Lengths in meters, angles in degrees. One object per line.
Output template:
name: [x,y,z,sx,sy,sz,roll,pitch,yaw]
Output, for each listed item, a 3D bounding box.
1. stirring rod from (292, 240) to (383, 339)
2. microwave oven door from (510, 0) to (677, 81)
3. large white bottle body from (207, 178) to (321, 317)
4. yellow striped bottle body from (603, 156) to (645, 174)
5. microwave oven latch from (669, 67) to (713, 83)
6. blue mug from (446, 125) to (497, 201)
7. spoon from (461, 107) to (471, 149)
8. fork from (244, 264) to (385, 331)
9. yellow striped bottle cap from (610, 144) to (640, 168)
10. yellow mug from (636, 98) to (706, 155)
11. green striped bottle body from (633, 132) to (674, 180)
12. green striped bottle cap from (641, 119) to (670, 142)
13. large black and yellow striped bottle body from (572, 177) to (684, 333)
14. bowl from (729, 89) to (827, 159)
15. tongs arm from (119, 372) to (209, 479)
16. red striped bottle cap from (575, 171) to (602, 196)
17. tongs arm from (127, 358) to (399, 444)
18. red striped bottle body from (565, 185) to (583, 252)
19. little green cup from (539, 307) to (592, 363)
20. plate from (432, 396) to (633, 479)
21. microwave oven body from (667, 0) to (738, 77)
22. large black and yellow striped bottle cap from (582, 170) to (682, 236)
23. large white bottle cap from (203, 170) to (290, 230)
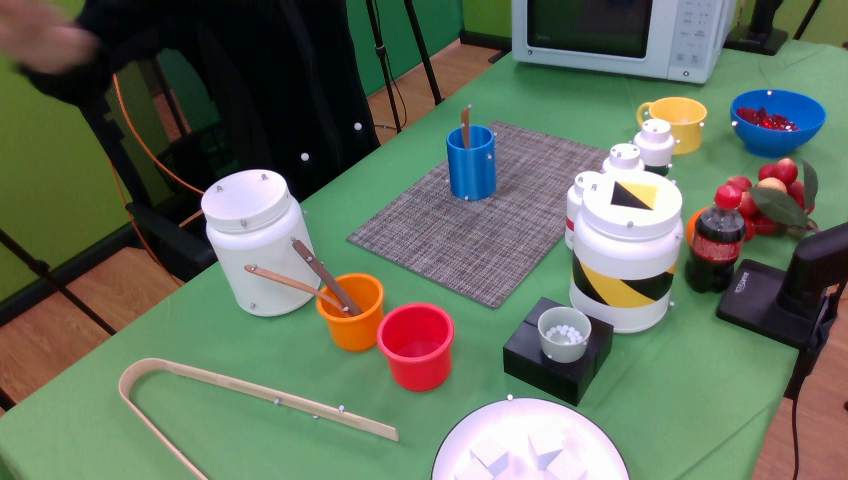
stirring rod: [-0.118,0.068,0.826,0.176,0.006,0.014,49,60,-4]
microwave oven door: [0.354,-0.478,1.290,0.353,0.245,0.039,15,45,25]
large white bottle body: [-0.232,0.007,0.876,0.130,0.185,0.130,-5,40,4]
yellow striped bottle body: [0.313,-0.089,0.956,0.063,0.121,0.062,-4,40,4]
microwave oven latch: [0.556,-0.348,1.262,0.078,0.029,0.030,15,46,26]
blue mug: [0.082,-0.144,1.064,0.082,0.106,0.116,-10,40,-2]
spoon: [0.073,-0.153,0.987,0.041,0.195,0.021,-25,59,-4]
fork: [-0.142,0.078,0.807,0.209,0.018,0.028,30,37,-24]
yellow striped bottle cap: [0.307,-0.128,0.923,0.044,0.019,0.044,-5,39,5]
yellow mug: [0.453,-0.217,1.128,0.100,0.064,0.129,-34,46,-27]
green striped bottle body: [0.376,-0.135,1.001,0.063,0.120,0.063,-5,40,5]
green striped bottle cap: [0.371,-0.175,0.968,0.044,0.020,0.044,-5,42,5]
large black and yellow striped bottle body: [0.262,0.017,0.788,0.131,0.185,0.130,-5,40,4]
bowl: [0.615,-0.197,1.069,0.151,0.077,0.150,-5,40,5]
tongs arm: [-0.258,0.258,0.700,0.384,0.028,0.028,25,56,33]
red striped bottle cap: [0.242,-0.081,0.876,0.044,0.018,0.044,-5,44,5]
tongs arm: [-0.213,0.205,0.754,0.382,0.026,0.051,12,47,23]
red striped bottle body: [0.247,-0.041,0.910,0.063,0.120,0.062,-3,39,3]
little green cup: [0.168,0.115,0.721,0.061,0.039,0.061,-4,42,4]
plate: [0.112,0.261,0.634,0.209,0.038,0.208,-5,40,4]
microwave oven body: [0.462,-0.552,1.369,0.439,0.261,0.326,15,45,26]
large black and yellow striped bottle cap: [0.252,-0.048,0.735,0.115,0.019,0.114,-3,40,3]
large white bottle cap: [-0.241,-0.057,0.822,0.115,0.018,0.114,-4,41,4]
